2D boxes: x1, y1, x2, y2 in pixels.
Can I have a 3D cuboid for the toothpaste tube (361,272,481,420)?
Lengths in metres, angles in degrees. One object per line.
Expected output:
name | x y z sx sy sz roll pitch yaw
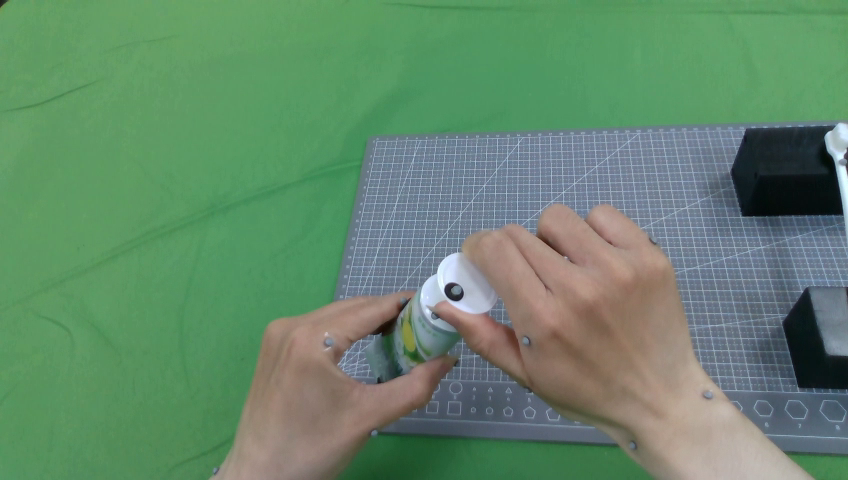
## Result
toothpaste tube | -0.007 0.060 0.369 0.035 0.166 0.054 -6 61 -28

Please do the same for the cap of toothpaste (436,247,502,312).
cap of toothpaste | 0.022 0.021 0.307 0.037 0.011 0.037 12 56 -18

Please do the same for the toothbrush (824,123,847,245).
toothbrush | 0.293 -0.011 0.410 0.014 0.017 0.180 14 58 1
